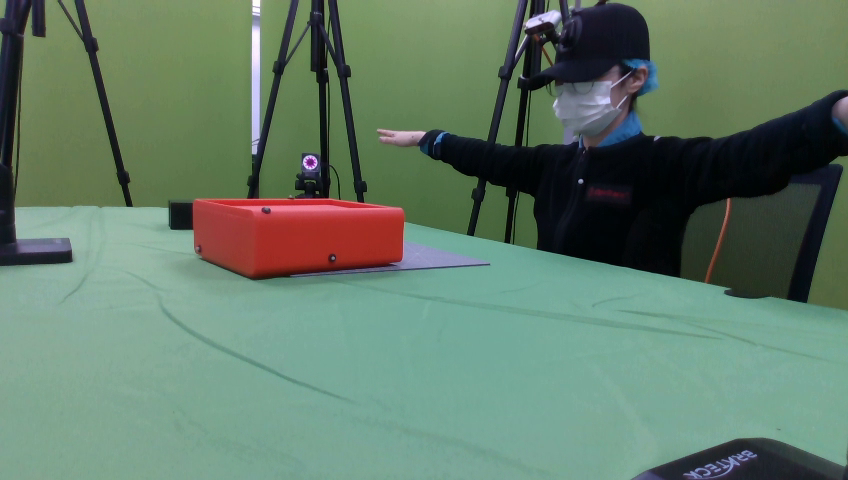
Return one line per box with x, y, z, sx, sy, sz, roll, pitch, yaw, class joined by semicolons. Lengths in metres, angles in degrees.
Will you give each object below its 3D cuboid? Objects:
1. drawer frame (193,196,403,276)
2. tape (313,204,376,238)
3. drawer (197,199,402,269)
-0.170;-0.014;0.814;0.215;0.082;0.200;-5;10;-40;drawer frame
-0.145;-0.036;1.117;0.117;0.052;0.117;3;8;0;tape
-0.169;-0.014;0.817;0.213;0.073;0.193;-4;10;-39;drawer
